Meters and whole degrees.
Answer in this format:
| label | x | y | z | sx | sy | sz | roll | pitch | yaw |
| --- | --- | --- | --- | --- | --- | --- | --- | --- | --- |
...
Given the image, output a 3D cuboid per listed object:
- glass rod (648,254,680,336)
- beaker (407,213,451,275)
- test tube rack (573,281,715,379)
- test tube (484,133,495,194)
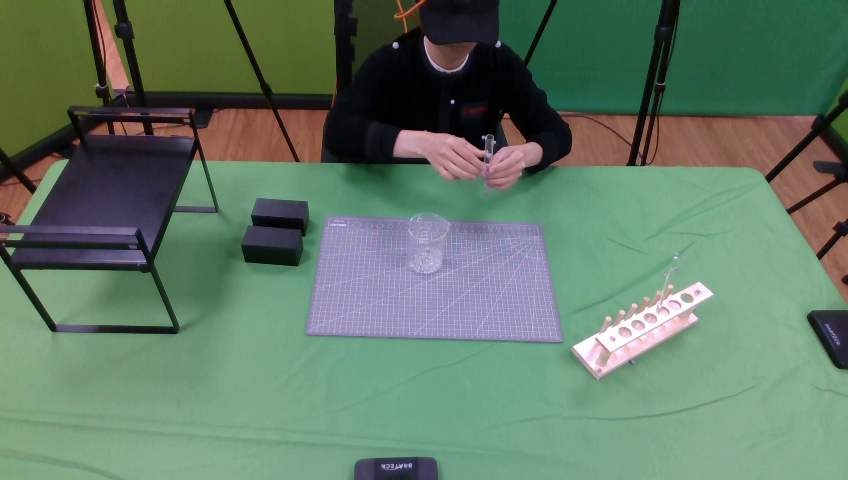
| label | x | y | z | sx | sy | sz | roll | pitch | yaw |
| --- | --- | --- | --- | --- | --- | --- | --- | --- | --- |
| glass rod | 0.391 | 0.094 | 0.991 | 0.008 | 0.201 | 0.008 | -1 | 44 | 2 |
| beaker | 0.008 | 0.009 | 1.129 | 0.084 | 0.101 | 0.073 | -11 | 48 | -15 |
| test tube rack | 0.378 | 0.140 | 1.038 | 0.242 | 0.085 | 0.066 | -22 | 51 | -22 |
| test tube | 0.123 | -0.142 | 1.145 | 0.017 | 0.151 | 0.017 | -2 | 51 | 2 |
